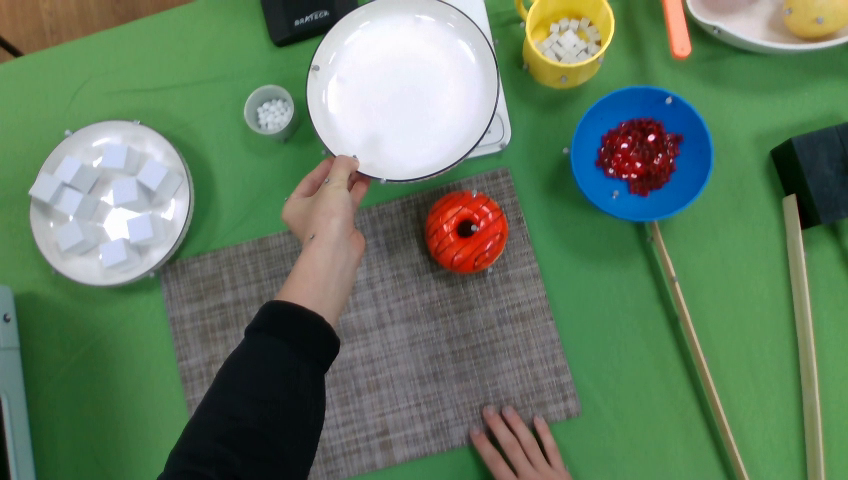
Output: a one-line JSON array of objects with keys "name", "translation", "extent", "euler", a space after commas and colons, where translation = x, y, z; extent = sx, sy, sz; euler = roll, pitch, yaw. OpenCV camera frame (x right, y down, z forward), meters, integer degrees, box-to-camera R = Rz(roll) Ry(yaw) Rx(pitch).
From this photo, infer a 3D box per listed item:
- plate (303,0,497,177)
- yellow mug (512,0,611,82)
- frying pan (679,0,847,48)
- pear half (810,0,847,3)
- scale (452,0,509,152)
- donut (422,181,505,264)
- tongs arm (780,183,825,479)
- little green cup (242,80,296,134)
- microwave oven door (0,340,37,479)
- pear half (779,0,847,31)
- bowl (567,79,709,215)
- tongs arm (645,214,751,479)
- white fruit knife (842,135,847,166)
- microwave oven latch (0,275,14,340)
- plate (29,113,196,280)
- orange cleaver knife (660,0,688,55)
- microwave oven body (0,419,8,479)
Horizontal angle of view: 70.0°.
[{"name": "plate", "translation": [-0.025, -0.167, 0.655], "extent": [0.209, 0.038, 0.208], "euler": [-1, 82, 5]}, {"name": "yellow mug", "translation": [0.153, -0.257, 0.720], "extent": [0.130, 0.064, 0.100], "euler": [41, 89, 9]}, {"name": "frying pan", "translation": [0.480, -0.283, 0.678], "extent": [0.307, 0.103, 0.485], "euler": [-43, 74, 0]}, {"name": "pear half", "translation": [0.460, -0.301, 0.684], "extent": [0.070, 0.088, 0.031], "euler": [15, 84, 12]}, {"name": "scale", "translation": [0.015, -0.203, 0.743], "extent": [0.148, 0.031, 0.200], "euler": [-11, 83, 4]}, {"name": "donut", "translation": [0.046, -0.020, 0.709], "extent": [0.099, 0.048, 0.099], "euler": [-1, 85, 8]}, {"name": "tongs arm", "translation": [0.416, 0.129, 0.672], "extent": [0.028, 0.028, 0.386], "euler": [-1, 84, -2]}, {"name": "little green cup", "translation": [-0.189, -0.162, 0.751], "extent": [0.061, 0.039, 0.061], "euler": [-1, 82, 5]}, {"name": "microwave oven door", "translation": [-0.482, 0.280, 0.601], "extent": [0.039, 0.244, 0.354], "euler": [-14, 82, 3]}, {"name": "pear half", "translation": [0.443, -0.271, 0.672], "extent": [0.076, 0.110, 0.056], "euler": [20, 85, 11]}, {"name": "bowl", "translation": [0.234, -0.097, 0.689], "extent": [0.151, 0.077, 0.151], "euler": [0, 84, 5]}, {"name": "tongs arm", "translation": [0.331, 0.145, 0.675], "extent": [0.051, 0.026, 0.383], "euler": [-16, 84, -1]}, {"name": "white fruit knife", "translation": [0.482, -0.014, 0.659], "extent": [0.016, 0.027, 0.208], "euler": [-18, 97, 3]}, {"name": "microwave oven latch", "translation": [-0.519, 0.081, 0.730], "extent": [0.030, 0.029, 0.079], "euler": [-11, 83, 3]}, {"name": "plate", "translation": [-0.381, -0.053, 0.754], "extent": [0.207, 0.039, 0.207], "euler": [-1, 83, 5]}, {"name": "orange cleaver knife", "translation": [0.282, -0.313, 0.679], "extent": [0.077, 0.012, 0.210], "euler": [-11, 83, 6]}, {"name": "microwave oven body", "translation": [-0.632, 0.273, 0.619], "extent": [0.326, 0.261, 0.440], "euler": [-13, 83, 2]}]
